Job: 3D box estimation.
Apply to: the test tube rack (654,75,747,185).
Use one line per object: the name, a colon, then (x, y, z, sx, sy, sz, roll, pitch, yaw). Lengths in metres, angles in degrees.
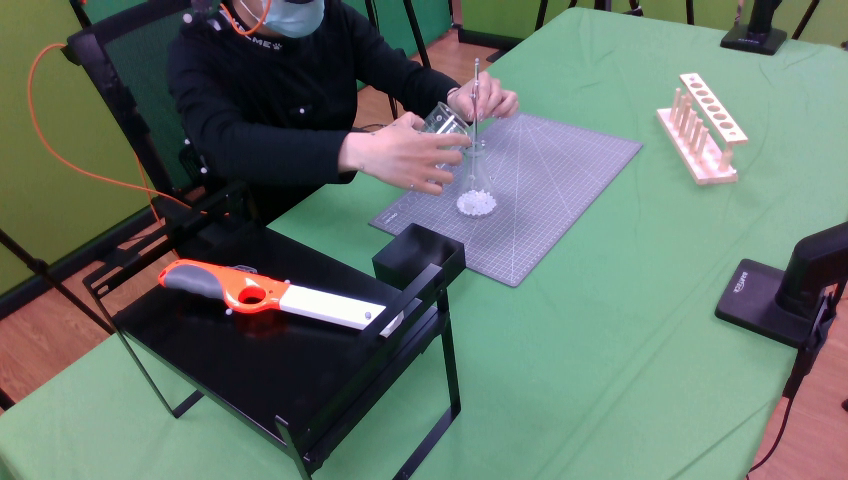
test tube rack: (0.491, -0.205, 1.092, 0.067, 0.085, 0.241, -5, 40, 3)

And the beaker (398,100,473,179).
beaker: (0.017, -0.148, 0.921, 0.100, 0.084, 0.073, -47, 35, 3)

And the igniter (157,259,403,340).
igniter: (-0.157, 0.059, 0.637, 0.275, 0.025, 0.057, 11, 43, 14)

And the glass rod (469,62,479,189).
glass rod: (0.080, -0.180, 0.965, 0.008, 0.200, 0.008, 1, 17, 0)

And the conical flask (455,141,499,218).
conical flask: (0.085, -0.103, 0.999, 0.075, 0.122, 0.075, -4, 40, 4)
